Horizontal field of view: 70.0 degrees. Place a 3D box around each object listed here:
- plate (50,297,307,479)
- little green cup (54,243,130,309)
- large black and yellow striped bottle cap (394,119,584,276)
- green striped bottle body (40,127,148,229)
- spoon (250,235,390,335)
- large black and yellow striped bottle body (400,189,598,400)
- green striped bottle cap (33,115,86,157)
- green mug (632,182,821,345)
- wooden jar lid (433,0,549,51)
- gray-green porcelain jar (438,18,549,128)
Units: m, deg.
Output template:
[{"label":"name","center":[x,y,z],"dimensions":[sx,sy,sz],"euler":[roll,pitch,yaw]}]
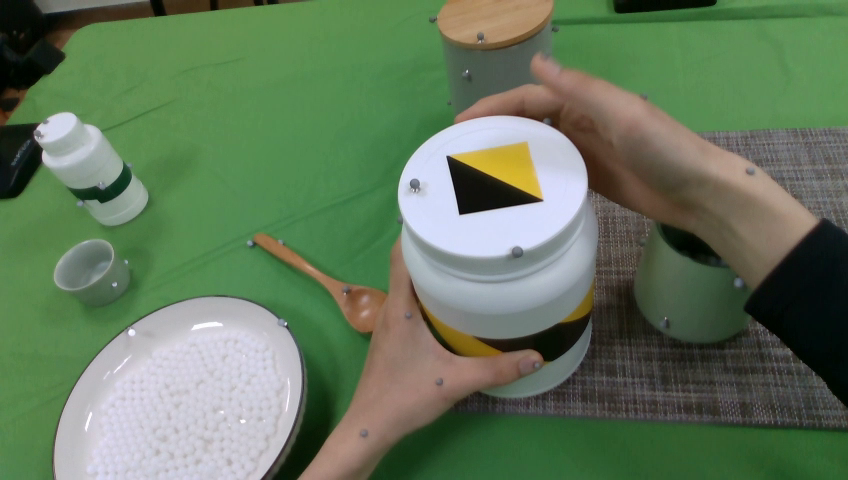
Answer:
[{"label":"plate","center":[-0.193,0.144,0.496],"dimensions":[0.209,0.038,0.207],"euler":[-6,52,8]},{"label":"little green cup","center":[-0.328,0.038,0.604],"dimensions":[0.061,0.039,0.061],"euler":[-6,51,8]},{"label":"large black and yellow striped bottle cap","center":[0.039,-0.030,0.369],"dimensions":[0.115,0.019,0.114],"euler":[-5,53,7]},{"label":"green striped bottle body","center":[-0.351,-0.071,0.639],"dimensions":[0.063,0.120,0.062],"euler":[-6,52,8]},{"label":"spoon","center":[-0.104,0.034,0.570],"dimensions":[0.192,0.022,0.041],"euler":[29,79,29]},{"label":"large black and yellow striped bottle body","center":[0.056,0.021,0.437],"dimensions":[0.130,0.186,0.129],"euler":[-6,52,8]},{"label":"green striped bottle cap","center":[-0.360,-0.102,0.599],"dimensions":[0.044,0.020,0.044],"euler":[-4,54,6]},{"label":"green mug","center":[0.223,0.024,0.451],"dimensions":[0.124,0.106,0.092],"euler":[17,58,24]},{"label":"wooden jar lid","center":[0.063,-0.206,0.568],"dimensions":[0.108,0.021,0.107],"euler":[-8,50,10]},{"label":"gray-green porcelain jar","center":[0.074,-0.164,0.615],"dimensions":[0.106,0.128,0.105],"euler":[-6,48,7]}]
